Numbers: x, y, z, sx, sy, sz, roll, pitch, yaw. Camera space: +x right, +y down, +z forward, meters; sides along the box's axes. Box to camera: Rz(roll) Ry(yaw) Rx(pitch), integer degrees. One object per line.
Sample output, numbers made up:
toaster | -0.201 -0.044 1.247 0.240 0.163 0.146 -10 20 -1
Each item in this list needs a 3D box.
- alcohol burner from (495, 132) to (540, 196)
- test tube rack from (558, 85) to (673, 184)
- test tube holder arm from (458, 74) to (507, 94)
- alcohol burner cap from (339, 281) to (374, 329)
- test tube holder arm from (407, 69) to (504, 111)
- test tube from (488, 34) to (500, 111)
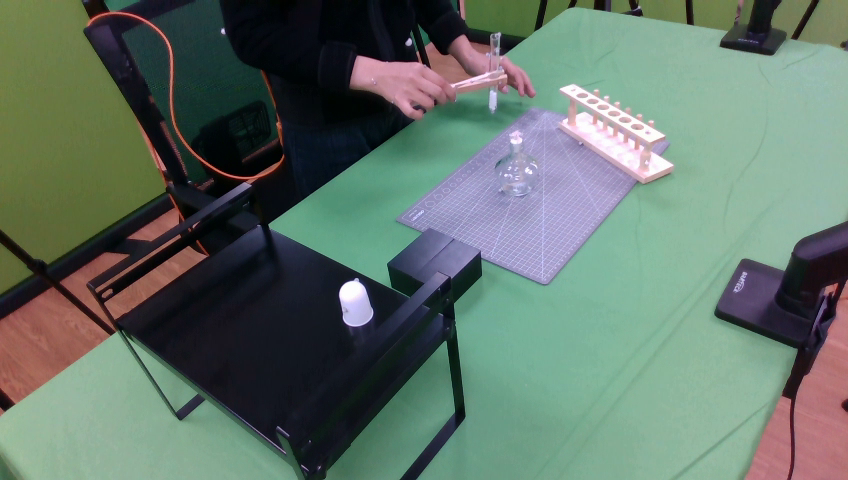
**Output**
alcohol burner | 0.160 -0.135 1.035 0.078 0.119 0.077 -5 42 5
test tube rack | 0.347 -0.203 1.109 0.067 0.085 0.240 -22 42 -17
test tube holder arm | 0.098 -0.262 1.019 0.088 0.015 0.010 -15 60 -7
alcohol burner cap | -0.071 0.063 0.617 0.034 0.048 0.033 -4 39 4
test tube holder arm | 0.054 -0.252 1.013 0.179 0.015 0.013 -22 60 -11
test tube | 0.117 -0.278 1.017 0.017 0.151 0.017 -2 53 3
